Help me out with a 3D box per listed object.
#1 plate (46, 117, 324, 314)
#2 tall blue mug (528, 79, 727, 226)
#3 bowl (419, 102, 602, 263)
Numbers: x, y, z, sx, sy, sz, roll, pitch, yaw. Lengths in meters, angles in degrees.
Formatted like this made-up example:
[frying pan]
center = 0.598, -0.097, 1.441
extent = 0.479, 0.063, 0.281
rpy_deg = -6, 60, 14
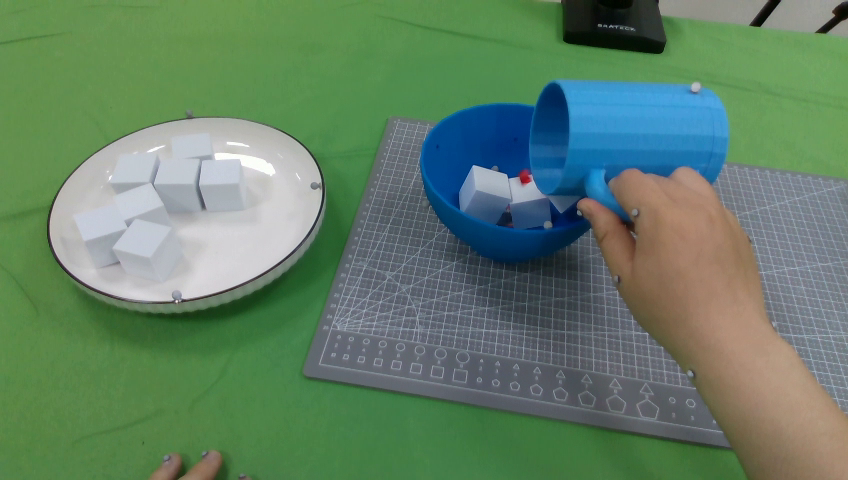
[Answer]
[plate]
center = -0.184, -0.022, 0.489
extent = 0.209, 0.038, 0.207
rpy_deg = 3, 48, -2
[tall blue mug]
center = 0.137, -0.062, 0.401
extent = 0.108, 0.078, 0.106
rpy_deg = 0, 21, -10
[bowl]
center = 0.069, -0.034, 0.487
extent = 0.151, 0.077, 0.150
rpy_deg = 2, 48, -2
